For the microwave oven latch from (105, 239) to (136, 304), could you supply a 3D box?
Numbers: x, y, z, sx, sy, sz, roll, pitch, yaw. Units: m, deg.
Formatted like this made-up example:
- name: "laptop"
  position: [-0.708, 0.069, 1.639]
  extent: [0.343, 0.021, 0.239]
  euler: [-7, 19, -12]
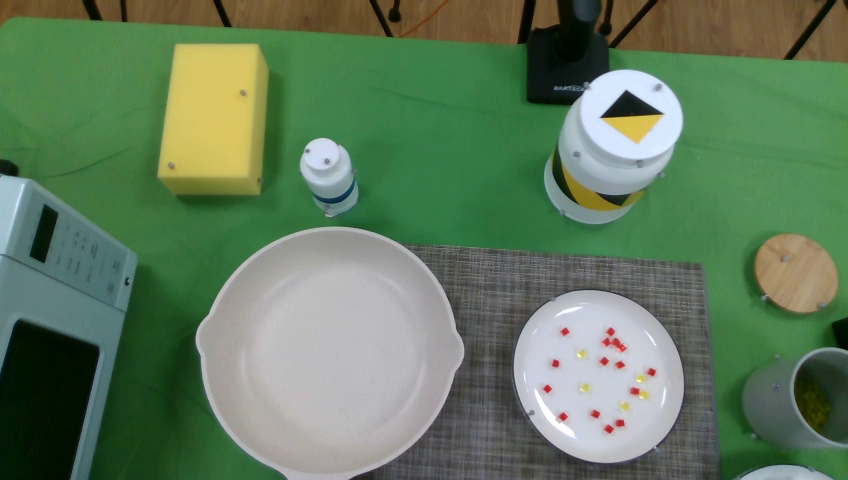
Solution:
- name: "microwave oven latch"
  position: [-0.388, 0.039, 0.763]
  extent: [0.030, 0.029, 0.078]
  euler: [7, 73, 1]

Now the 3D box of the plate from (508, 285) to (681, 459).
- name: "plate"
  position: [0.205, 0.159, 0.745]
  extent: [0.209, 0.038, 0.208]
  euler: [0, 72, 0]

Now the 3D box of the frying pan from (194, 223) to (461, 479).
- name: "frying pan"
  position: [-0.118, 0.215, 0.677]
  extent: [0.307, 0.103, 0.484]
  euler: [5, 62, -2]

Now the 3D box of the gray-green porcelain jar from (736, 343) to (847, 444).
- name: "gray-green porcelain jar"
  position: [0.434, 0.181, 0.698]
  extent: [0.106, 0.127, 0.105]
  euler: [0, 72, 0]

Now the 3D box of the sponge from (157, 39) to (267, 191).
- name: "sponge"
  position: [-0.290, -0.173, 0.840]
  extent: [0.118, 0.061, 0.205]
  euler: [-1, 73, -1]

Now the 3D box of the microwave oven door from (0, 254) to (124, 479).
- name: "microwave oven door"
  position: [-0.407, 0.213, 0.599]
  extent: [0.039, 0.245, 0.353]
  euler: [4, 71, 2]

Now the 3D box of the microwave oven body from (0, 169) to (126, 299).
- name: "microwave oven body"
  position: [-0.549, 0.164, 0.619]
  extent: [0.326, 0.261, 0.439]
  euler: [4, 72, 1]

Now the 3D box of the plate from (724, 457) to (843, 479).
- name: "plate"
  position: [0.415, 0.355, 0.688]
  extent: [0.208, 0.039, 0.206]
  euler: [0, 72, 0]

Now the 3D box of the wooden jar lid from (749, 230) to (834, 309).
- name: "wooden jar lid"
  position: [0.482, 0.040, 0.801]
  extent: [0.108, 0.021, 0.107]
  euler: [0, 73, 0]

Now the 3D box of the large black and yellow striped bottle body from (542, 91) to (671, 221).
- name: "large black and yellow striped bottle body"
  position: [0.228, -0.114, 0.763]
  extent: [0.131, 0.185, 0.130]
  euler: [0, 71, 0]

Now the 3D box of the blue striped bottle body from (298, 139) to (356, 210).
- name: "blue striped bottle body"
  position: [-0.125, -0.089, 0.783]
  extent: [0.063, 0.121, 0.062]
  euler: [0, 71, 0]

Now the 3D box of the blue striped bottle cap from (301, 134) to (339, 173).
- name: "blue striped bottle cap"
  position: [-0.126, -0.106, 0.735]
  extent: [0.044, 0.021, 0.044]
  euler: [0, 74, 0]

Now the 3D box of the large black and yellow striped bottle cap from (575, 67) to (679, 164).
- name: "large black and yellow striped bottle cap"
  position: [0.229, -0.142, 0.683]
  extent: [0.115, 0.019, 0.114]
  euler: [0, 73, 0]
